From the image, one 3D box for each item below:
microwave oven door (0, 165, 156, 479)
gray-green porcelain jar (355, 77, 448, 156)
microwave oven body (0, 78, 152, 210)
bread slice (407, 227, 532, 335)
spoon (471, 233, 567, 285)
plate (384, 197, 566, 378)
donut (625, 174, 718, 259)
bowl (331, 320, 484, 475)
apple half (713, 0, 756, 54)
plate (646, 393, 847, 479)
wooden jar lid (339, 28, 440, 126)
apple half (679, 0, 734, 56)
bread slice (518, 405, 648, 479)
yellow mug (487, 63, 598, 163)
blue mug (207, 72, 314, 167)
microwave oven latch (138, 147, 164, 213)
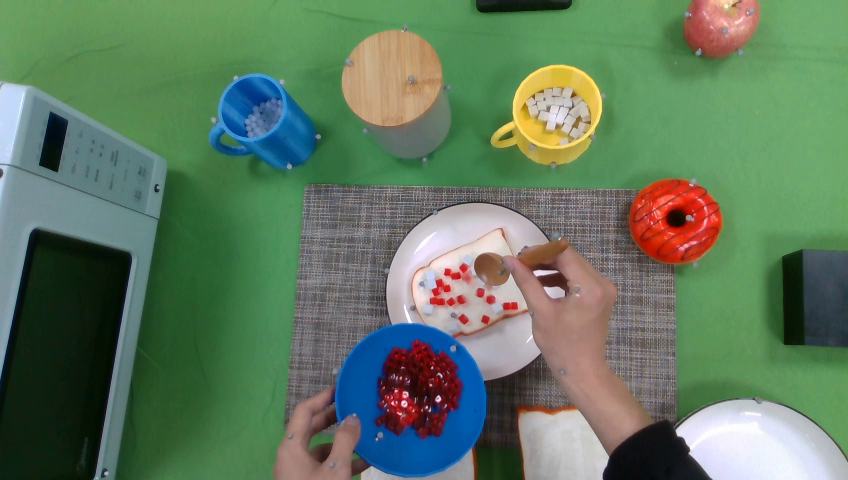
[{"bbox_3d":[-0.391,0.123,0.634,0.039,0.245,0.354,5,81,9],"label":"microwave oven door"},{"bbox_3d":[-0.027,-0.161,0.707,0.106,0.127,0.105,-1,80,8],"label":"gray-green porcelain jar"},{"bbox_3d":[-0.529,0.070,0.667,0.325,0.261,0.440,5,82,8],"label":"microwave oven body"},{"bbox_3d":[0.048,0.056,0.707,0.131,0.019,0.104,-24,78,0],"label":"bread slice"},{"bbox_3d":[0.087,0.019,0.579,0.021,0.193,0.041,-37,91,-16],"label":"spoon"},{"bbox_3d":[0.058,0.055,0.703,0.207,0.039,0.207,-1,81,8],"label":"plate"},{"bbox_3d":[0.277,-0.026,0.682,0.099,0.048,0.098,-1,82,7],"label":"donut"},{"bbox_3d":[-0.021,0.165,0.619,0.152,0.077,0.150,5,62,-10],"label":"bowl"},{"bbox_3d":[0.348,-0.260,0.699,0.053,0.075,0.080,-30,74,-3],"label":"apple half"},{"bbox_3d":[0.337,0.266,0.635,0.209,0.038,0.208,-1,81,8],"label":"plate"},{"bbox_3d":[-0.036,-0.172,0.646,0.108,0.021,0.108,-2,79,8],"label":"wooden jar lid"},{"bbox_3d":[0.315,-0.240,0.698,0.033,0.081,0.081,-31,78,-3],"label":"apple half"},{"bbox_3d":[0.171,0.230,0.637,0.135,0.018,0.106,-3,77,-13],"label":"bread slice"},{"bbox_3d":[0.136,-0.142,0.713,0.131,0.064,0.099,-22,79,4],"label":"yellow mug"},{"bbox_3d":[-0.205,-0.137,0.738,0.116,0.106,0.082,-24,78,4],"label":"blue mug"},{"bbox_3d":[-0.351,-0.076,0.764,0.030,0.029,0.079,7,83,8],"label":"microwave oven latch"}]
